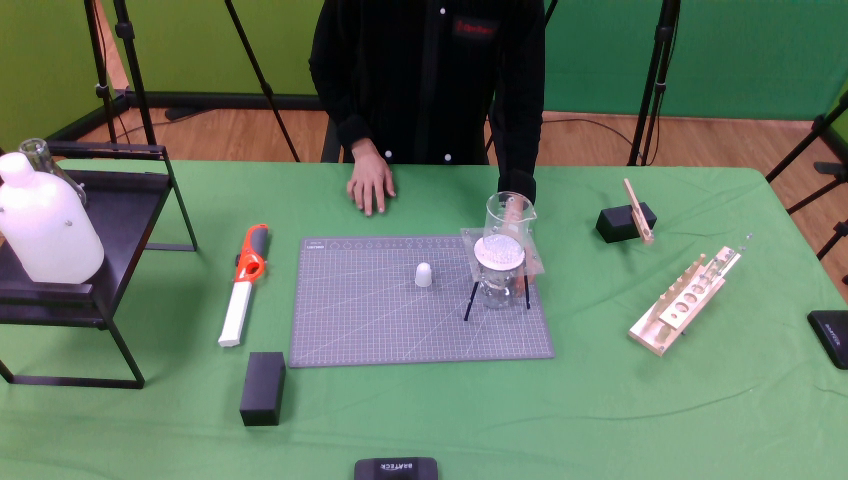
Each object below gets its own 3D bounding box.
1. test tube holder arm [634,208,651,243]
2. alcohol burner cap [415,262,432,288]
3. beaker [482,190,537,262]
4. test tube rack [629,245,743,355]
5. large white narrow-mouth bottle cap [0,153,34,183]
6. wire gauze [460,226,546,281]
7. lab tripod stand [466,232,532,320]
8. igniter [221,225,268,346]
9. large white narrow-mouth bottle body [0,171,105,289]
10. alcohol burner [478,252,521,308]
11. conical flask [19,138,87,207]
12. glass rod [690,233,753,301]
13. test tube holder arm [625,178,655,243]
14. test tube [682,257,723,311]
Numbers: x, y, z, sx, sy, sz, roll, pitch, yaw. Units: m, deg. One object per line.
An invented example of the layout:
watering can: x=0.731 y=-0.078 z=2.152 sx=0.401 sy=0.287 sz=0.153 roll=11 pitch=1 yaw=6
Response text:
test tube holder arm: x=0.428 y=-0.030 z=1.189 sx=0.010 sy=0.015 sz=0.087 roll=1 pitch=47 yaw=-2
alcohol burner cap: x=0.000 y=0.061 z=1.119 sx=0.034 sy=0.048 sz=0.033 roll=3 pitch=43 yaw=-3
beaker: x=0.136 y=-0.019 z=0.983 sx=0.084 sy=0.101 sz=0.073 roll=17 pitch=47 yaw=14
test tube rack: x=0.474 y=0.095 z=1.091 sx=0.242 sy=0.085 sz=0.066 roll=-34 pitch=56 yaw=-31
large white narrow-mouth bottle cap: x=-0.510 y=-0.090 z=0.754 sx=0.038 sy=0.024 sz=0.037 roll=2 pitch=46 yaw=-2
wire gauze: x=0.130 y=0.017 z=1.016 sx=0.121 sy=0.011 sz=0.124 roll=-4 pitch=43 yaw=-9
lab tripod stand: x=0.125 y=0.059 z=1.065 sx=0.148 sy=0.132 sz=0.147 roll=1 pitch=45 yaw=0
igniter: x=-0.323 y=0.072 z=1.100 sx=0.057 sy=0.025 sz=0.274 roll=-6 pitch=45 yaw=4
large white narrow-mouth bottle body: x=-0.513 y=-0.029 z=0.818 sx=0.102 sy=0.195 sz=0.101 roll=2 pitch=46 yaw=-2
alcohol burner: x=0.134 y=0.066 z=1.073 sx=0.078 sy=0.120 sz=0.077 roll=0 pitch=47 yaw=0
conical flask: x=-0.576 y=-0.097 z=0.930 sx=0.075 sy=0.122 sz=0.075 roll=2 pitch=46 yaw=-2
glass rod: x=0.507 y=0.053 z=1.041 sx=0.008 sy=0.200 sz=0.008 roll=5 pitch=51 yaw=-6
test tube holder arm: x=0.433 y=-0.062 z=1.220 sx=0.013 sy=0.015 sz=0.177 roll=0 pitch=47 yaw=-2
test tube: x=0.474 y=0.080 z=1.037 sx=0.017 sy=0.151 sz=0.017 roll=1 pitch=51 yaw=-1
